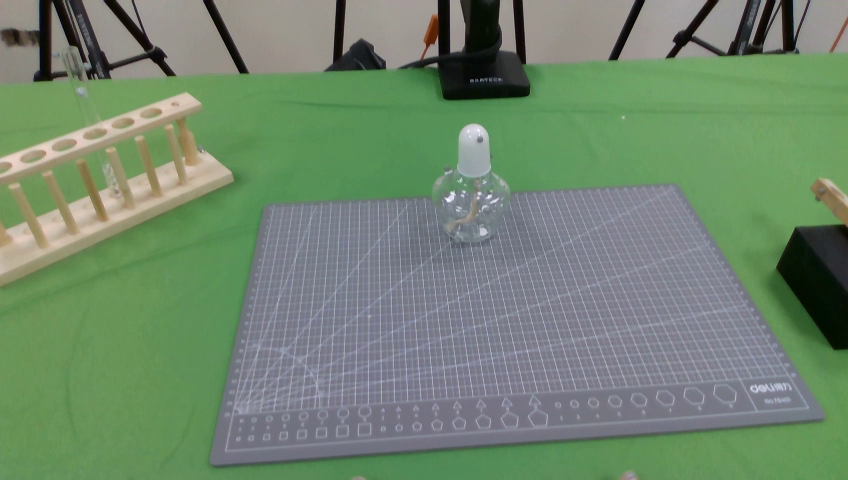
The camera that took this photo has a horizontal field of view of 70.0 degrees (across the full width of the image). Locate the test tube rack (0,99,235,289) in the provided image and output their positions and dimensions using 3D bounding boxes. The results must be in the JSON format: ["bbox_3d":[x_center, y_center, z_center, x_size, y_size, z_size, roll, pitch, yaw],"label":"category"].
[{"bbox_3d":[-0.323,-0.054,0.610,0.242,0.086,0.066,-31,49,-31],"label":"test tube rack"}]

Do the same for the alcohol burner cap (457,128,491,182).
[{"bbox_3d":[0.046,-0.081,0.556,0.034,0.048,0.033,-1,45,2],"label":"alcohol burner cap"}]

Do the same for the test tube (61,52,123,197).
[{"bbox_3d":[-0.323,-0.109,0.597,0.017,0.151,0.017,-1,35,1],"label":"test tube"}]

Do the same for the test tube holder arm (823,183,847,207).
[{"bbox_3d":[0.388,0.008,0.509,0.013,0.015,0.176,-1,41,-12],"label":"test tube holder arm"}]

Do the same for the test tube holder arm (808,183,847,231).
[{"bbox_3d":[0.376,-0.021,0.541,0.010,0.015,0.087,0,41,-11],"label":"test tube holder arm"}]

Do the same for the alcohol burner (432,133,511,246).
[{"bbox_3d":[0.046,-0.053,0.579,0.078,0.120,0.077,1,42,0],"label":"alcohol burner"}]
